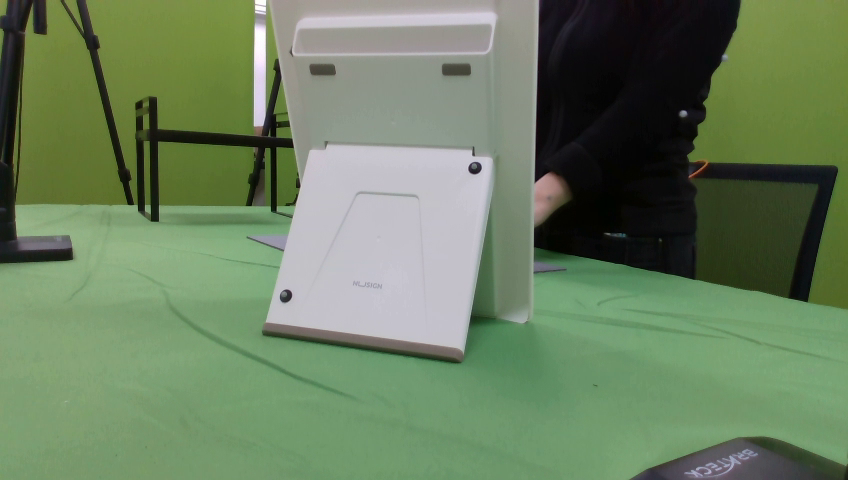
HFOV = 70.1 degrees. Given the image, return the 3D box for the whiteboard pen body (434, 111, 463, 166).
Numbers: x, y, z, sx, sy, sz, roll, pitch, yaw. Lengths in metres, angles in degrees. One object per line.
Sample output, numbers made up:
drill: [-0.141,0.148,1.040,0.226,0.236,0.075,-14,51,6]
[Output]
whiteboard pen body: [0.036,-0.156,0.927,0.017,0.017,0.141,5,45,19]

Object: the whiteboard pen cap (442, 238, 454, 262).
whiteboard pen cap: [0.034,0.014,0.851,0.018,0.033,0.018,3,5,0]

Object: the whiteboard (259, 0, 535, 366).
whiteboard: [-0.037,-0.040,0.457,0.216,0.305,0.144,5,28,19]
